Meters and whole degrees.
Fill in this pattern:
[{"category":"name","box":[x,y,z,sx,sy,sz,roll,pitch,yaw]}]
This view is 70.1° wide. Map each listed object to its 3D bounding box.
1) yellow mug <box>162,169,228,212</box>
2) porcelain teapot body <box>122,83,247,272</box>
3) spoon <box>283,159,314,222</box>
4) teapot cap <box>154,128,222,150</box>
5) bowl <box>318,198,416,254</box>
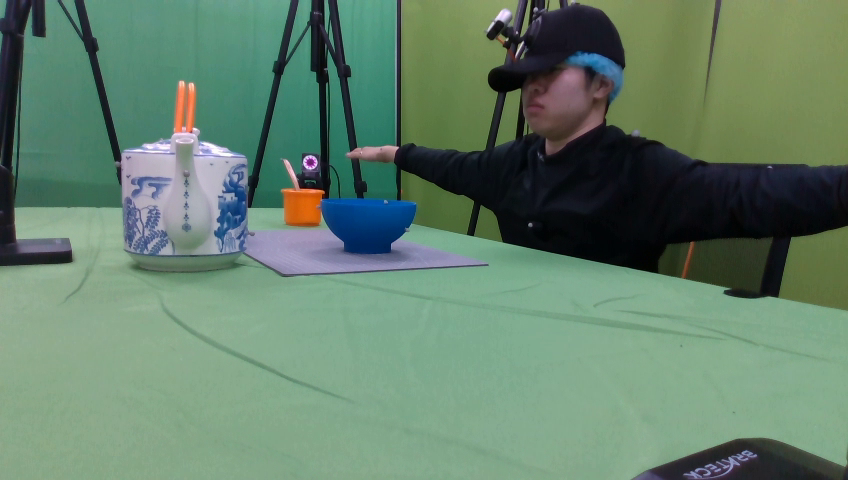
[{"category":"yellow mug","box":[-0.366,-0.083,0.995,0.100,0.064,0.131,5,7,16]},{"category":"porcelain teapot body","box":[-0.286,-0.075,0.733,0.146,0.225,0.204,0,8,-24]},{"category":"spoon","box":[-0.280,-0.111,1.323,0.042,0.193,0.021,1,-38,-35]},{"category":"teapot cap","box":[-0.294,-0.117,0.754,0.085,0.044,0.085,4,9,0]},{"category":"bowl","box":[-0.089,-0.022,0.941,0.151,0.077,0.151,2,7,0]}]
